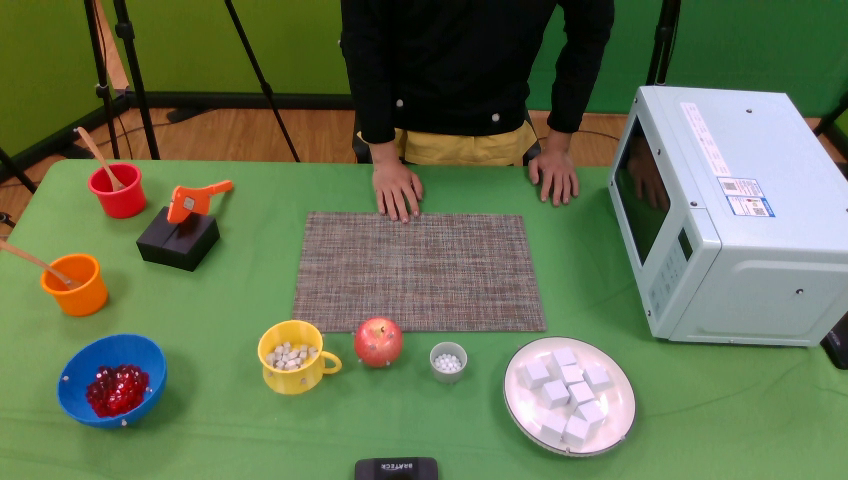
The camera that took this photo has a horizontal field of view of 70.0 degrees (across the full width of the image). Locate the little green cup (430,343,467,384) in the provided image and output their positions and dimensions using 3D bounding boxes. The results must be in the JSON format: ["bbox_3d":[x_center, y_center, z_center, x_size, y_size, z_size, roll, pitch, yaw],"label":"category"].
[{"bbox_3d":[0.039,0.203,0.994,0.061,0.039,0.061,2,46,-2],"label":"little green cup"}]

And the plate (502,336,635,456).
[{"bbox_3d":[0.225,0.248,0.963,0.208,0.039,0.206,2,46,-2],"label":"plate"}]

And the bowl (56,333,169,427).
[{"bbox_3d":[-0.456,0.223,0.911,0.151,0.077,0.150,3,46,-2],"label":"bowl"}]

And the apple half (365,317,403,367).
[{"bbox_3d":[-0.063,0.165,1.000,0.053,0.075,0.080,-16,45,-24],"label":"apple half"}]

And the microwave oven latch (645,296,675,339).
[{"bbox_3d":[0.412,0.134,1.061,0.030,0.029,0.078,4,45,0],"label":"microwave oven latch"}]

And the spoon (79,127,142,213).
[{"bbox_3d":[-0.624,-0.139,1.203,0.041,0.021,0.194,-33,100,-26],"label":"spoon"}]

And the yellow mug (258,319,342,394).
[{"bbox_3d":[-0.195,0.189,0.972,0.131,0.064,0.099,9,46,4],"label":"yellow mug"}]

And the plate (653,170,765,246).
[{"bbox_3d":[0.556,-0.060,1.195,0.209,0.038,0.208,1,45,-1],"label":"plate"}]

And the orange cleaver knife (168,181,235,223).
[{"bbox_3d":[-0.436,-0.078,1.196,0.012,0.077,0.211,16,15,10],"label":"orange cleaver knife"}]

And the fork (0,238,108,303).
[{"bbox_3d":[-0.633,0.048,1.017,0.208,0.018,0.028,40,41,-27],"label":"fork"}]

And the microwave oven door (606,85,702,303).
[{"bbox_3d":[0.423,-0.094,1.140,0.039,0.245,0.353,2,46,-1],"label":"microwave oven door"}]

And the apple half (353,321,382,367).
[{"bbox_3d":[-0.098,0.177,0.984,0.033,0.081,0.081,-17,49,-25],"label":"apple half"}]

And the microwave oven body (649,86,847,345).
[{"bbox_3d":[0.567,-0.053,1.118,0.326,0.261,0.439,2,45,-1],"label":"microwave oven body"}]

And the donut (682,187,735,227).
[{"bbox_3d":[0.554,-0.067,1.183,0.099,0.048,0.098,3,45,-3],"label":"donut"}]
